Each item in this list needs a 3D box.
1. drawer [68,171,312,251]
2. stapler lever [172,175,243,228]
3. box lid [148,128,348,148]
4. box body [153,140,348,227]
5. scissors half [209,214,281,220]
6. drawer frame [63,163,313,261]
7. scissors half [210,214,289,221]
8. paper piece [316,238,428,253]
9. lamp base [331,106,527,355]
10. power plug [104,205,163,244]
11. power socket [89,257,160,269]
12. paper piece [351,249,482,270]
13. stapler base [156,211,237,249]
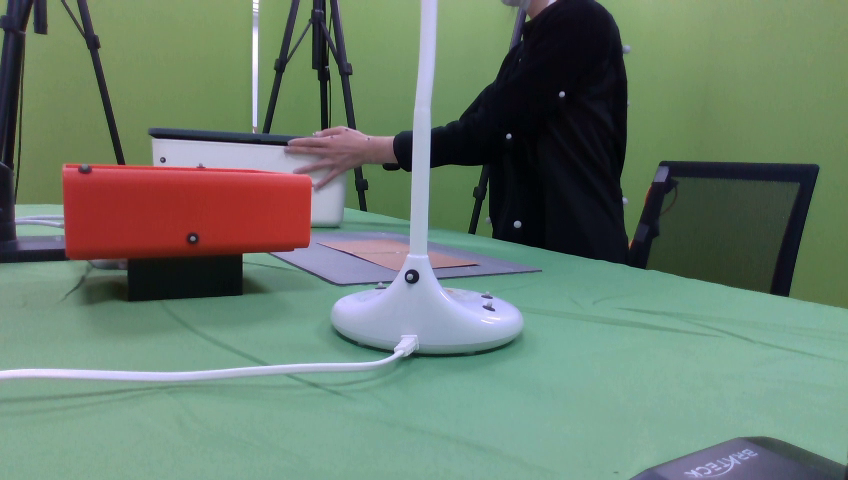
[{"bbox_3d":[-0.247,-0.037,0.629,0.213,0.073,0.193,-2,9,-30],"label":"drawer"},{"bbox_3d":[-0.217,-0.041,0.618,0.027,0.040,0.118,19,11,-2],"label":"stapler lever"},{"bbox_3d":[-0.355,-0.206,1.252,0.373,0.015,0.262,0,6,-18],"label":"box lid"},{"bbox_3d":[-0.357,-0.119,1.264,0.365,0.160,0.253,0,7,-18],"label":"box body"},{"bbox_3d":[-0.364,-0.045,1.216,0.174,0.013,0.040,-1,-1,26],"label":"scissors half"},{"bbox_3d":[-0.248,-0.036,0.626,0.215,0.082,0.200,-3,9,-31],"label":"drawer frame"},{"bbox_3d":[-0.357,-0.044,1.235,0.175,0.013,0.040,1,-5,9],"label":"scissors half"},{"bbox_3d":[-0.083,0.008,0.952,0.136,0.004,0.134,-2,9,-31],"label":"paper piece"},{"bbox_3d":[0.006,-0.012,0.478,0.161,0.180,0.179,2,10,2],"label":"lamp base"},{"bbox_3d":[-0.390,-0.021,0.815,0.073,0.052,0.035,-1,8,-28],"label":"power plug"},{"bbox_3d":[-0.409,0.004,0.793,0.072,0.032,0.225,-2,8,-38],"label":"power socket"},{"bbox_3d":[-0.013,0.026,0.841,0.139,0.008,0.135,0,11,-32],"label":"paper piece"},{"bbox_3d":[-0.227,-0.017,0.624,0.041,0.024,0.130,19,9,-2],"label":"stapler base"}]
